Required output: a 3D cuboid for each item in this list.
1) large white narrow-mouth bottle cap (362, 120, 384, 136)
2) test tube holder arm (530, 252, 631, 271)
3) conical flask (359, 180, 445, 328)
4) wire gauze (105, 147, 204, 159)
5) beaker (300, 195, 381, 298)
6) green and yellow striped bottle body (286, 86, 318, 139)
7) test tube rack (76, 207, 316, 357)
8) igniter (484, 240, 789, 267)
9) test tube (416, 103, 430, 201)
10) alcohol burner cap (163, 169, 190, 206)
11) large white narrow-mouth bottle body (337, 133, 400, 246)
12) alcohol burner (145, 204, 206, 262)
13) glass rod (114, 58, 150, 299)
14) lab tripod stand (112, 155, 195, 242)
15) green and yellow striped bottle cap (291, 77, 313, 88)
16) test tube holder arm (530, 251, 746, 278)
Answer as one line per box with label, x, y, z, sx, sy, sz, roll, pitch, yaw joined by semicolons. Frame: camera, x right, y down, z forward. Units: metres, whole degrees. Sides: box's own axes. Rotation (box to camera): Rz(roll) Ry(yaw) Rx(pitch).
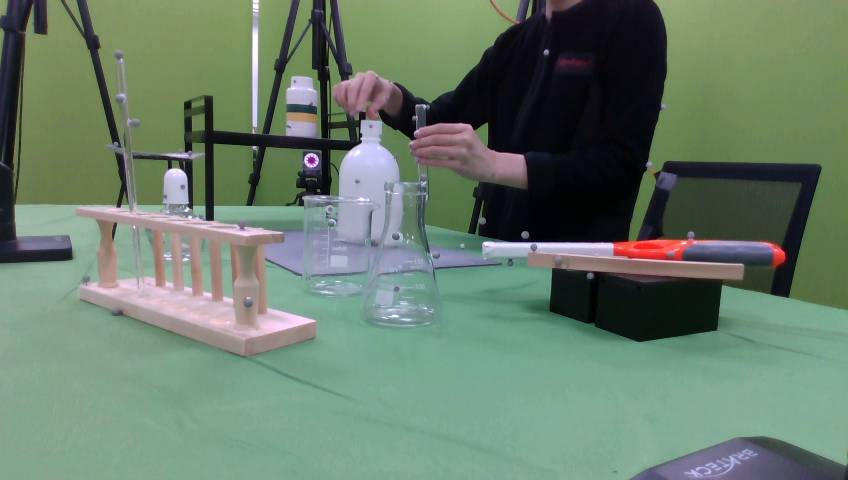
large white narrow-mouth bottle cap;-0.084;-0.184;0.994;0.038;0.024;0.037;4;7;0
test tube holder arm;0.139;0.019;0.538;0.087;0.015;0.010;3;6;13
conical flask;-0.017;0.010;0.522;0.075;0.122;0.075;2;7;0
wire gauze;-0.407;-0.131;0.928;0.125;0.011;0.121;2;6;-11
beaker;-0.087;0.006;0.626;0.084;0.100;0.074;1;8;-17
green and yellow striped bottle body;-0.251;-0.270;1.245;0.063;0.119;0.063;2;7;0
test tube rack;-0.196;0.023;0.500;0.241;0.085;0.067;8;9;36
igniter;0.197;0.012;0.585;0.276;0.025;0.057;1;5;11
test tube;-0.001;-0.134;0.926;0.017;0.150;0.017;-3;10;1
alcohol burner cap;-0.321;-0.068;0.782;0.034;0.048;0.034;1;7;0
large white narrow-mouth bottle body;-0.091;-0.092;1.006;0.102;0.194;0.102;4;7;0
alcohol burner;-0.321;-0.032;0.788;0.078;0.119;0.078;0;7;0
glass rod;-0.236;-0.044;0.491;0.008;0.199;0.008;1;15;0
lab tripod stand;-0.405;-0.064;0.931;0.148;0.131;0.148;1;7;0
green and yellow striped bottle cap;-0.250;-0.321;1.238;0.045;0.020;0.045;3;6;0
test tube holder arm;0.182;0.022;0.523;0.178;0.015;0.013;3;6;12
